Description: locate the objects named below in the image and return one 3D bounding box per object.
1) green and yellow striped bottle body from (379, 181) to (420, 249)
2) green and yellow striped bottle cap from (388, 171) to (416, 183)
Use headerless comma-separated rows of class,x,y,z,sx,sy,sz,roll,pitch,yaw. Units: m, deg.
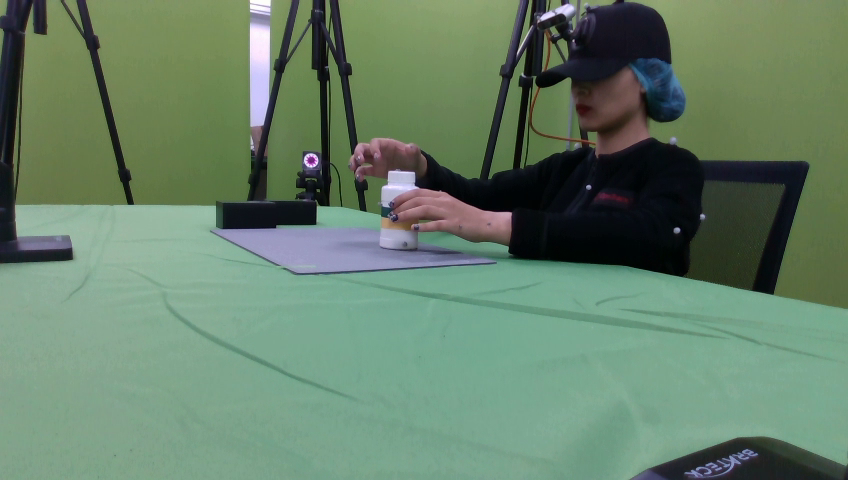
green and yellow striped bottle body,-0.038,-0.048,0.959,0.063,0.119,0.063,3,7,0
green and yellow striped bottle cap,-0.034,-0.100,0.953,0.045,0.020,0.045,1,8,0
